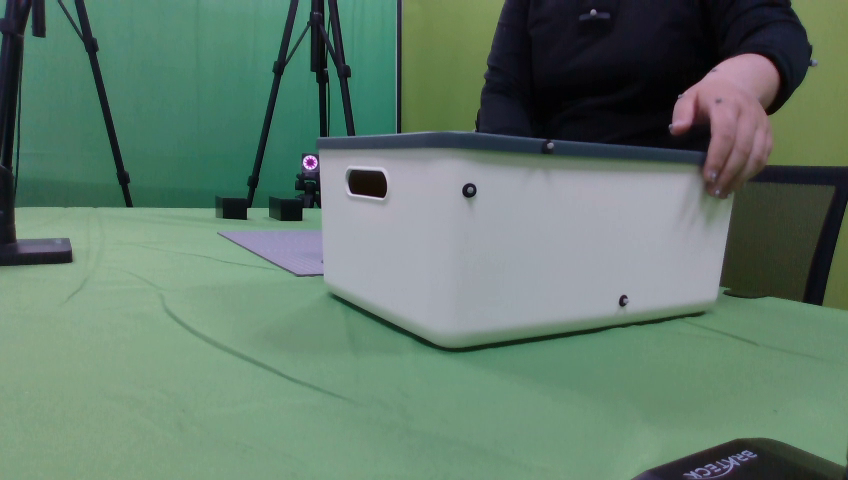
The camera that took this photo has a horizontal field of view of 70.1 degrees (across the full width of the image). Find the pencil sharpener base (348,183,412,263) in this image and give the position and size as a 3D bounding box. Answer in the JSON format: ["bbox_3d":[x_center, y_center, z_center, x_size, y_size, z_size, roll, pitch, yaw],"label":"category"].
[{"bbox_3d":[-0.059,-0.024,0.846,0.077,0.107,0.061,-1,7,-30],"label":"pencil sharpener base"}]

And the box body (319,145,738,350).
[{"bbox_3d":[0.100,-0.013,0.611,0.366,0.160,0.253,-2,8,-33],"label":"box body"}]

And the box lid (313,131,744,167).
[{"bbox_3d":[0.101,-0.085,0.602,0.373,0.015,0.262,-2,8,-32],"label":"box lid"}]

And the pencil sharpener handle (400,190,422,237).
[{"bbox_3d":[-0.015,-0.038,0.872,0.031,0.067,0.036,-1,15,-30],"label":"pencil sharpener handle"}]
